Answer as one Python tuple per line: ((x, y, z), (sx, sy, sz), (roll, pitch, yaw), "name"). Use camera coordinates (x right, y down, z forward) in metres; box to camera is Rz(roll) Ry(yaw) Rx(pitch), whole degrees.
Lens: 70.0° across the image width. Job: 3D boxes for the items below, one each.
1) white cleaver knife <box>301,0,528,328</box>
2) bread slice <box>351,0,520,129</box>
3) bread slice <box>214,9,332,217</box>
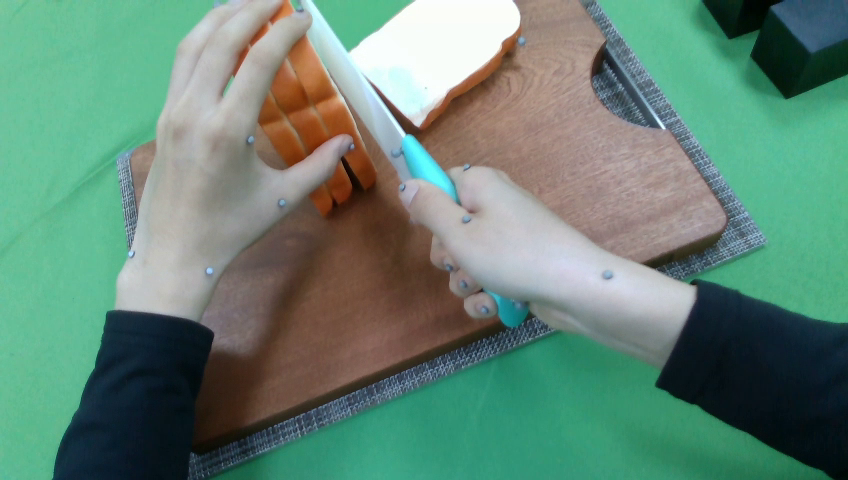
((-0.016, -0.062, 0.406), (0.021, 0.066, 0.284), (-27, 68, -12), "white cleaver knife")
((0.014, -0.157, 0.492), (0.131, 0.019, 0.104), (-39, 61, -5), "bread slice")
((-0.105, -0.093, 0.424), (0.018, 0.135, 0.106), (-25, 56, -1), "bread slice")
